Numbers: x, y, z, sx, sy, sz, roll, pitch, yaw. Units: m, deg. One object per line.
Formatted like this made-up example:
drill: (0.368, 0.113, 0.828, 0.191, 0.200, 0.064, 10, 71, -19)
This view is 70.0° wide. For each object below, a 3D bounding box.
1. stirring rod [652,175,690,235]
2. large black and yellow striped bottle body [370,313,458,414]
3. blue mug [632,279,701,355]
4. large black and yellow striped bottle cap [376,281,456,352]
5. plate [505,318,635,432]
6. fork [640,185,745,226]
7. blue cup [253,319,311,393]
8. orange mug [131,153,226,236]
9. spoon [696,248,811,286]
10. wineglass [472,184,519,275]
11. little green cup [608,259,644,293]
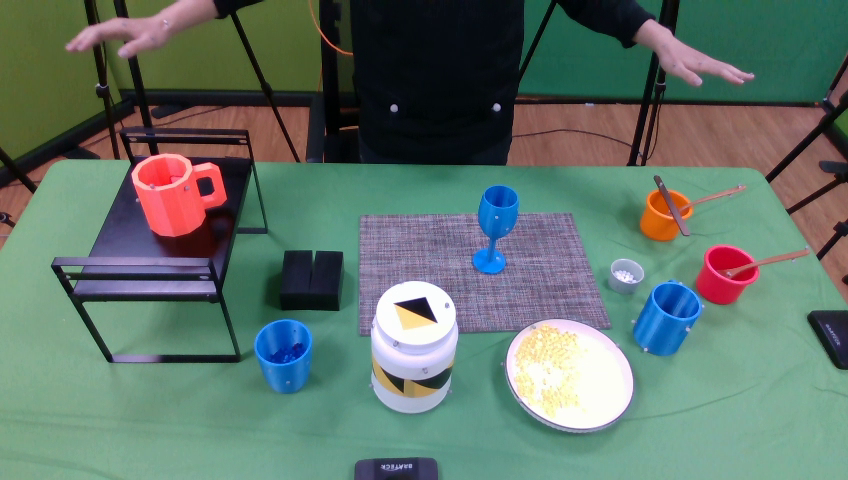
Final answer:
stirring rod: (0.492, -0.072, 1.211, 0.014, 0.006, 0.175, -1, 46, -6)
large black and yellow striped bottle body: (-0.017, 0.165, 0.924, 0.131, 0.185, 0.130, 2, 46, -2)
blue mug: (0.419, 0.124, 1.052, 0.082, 0.106, 0.116, 14, 46, 9)
large black and yellow striped bottle cap: (-0.011, 0.107, 0.863, 0.115, 0.019, 0.114, 2, 47, -2)
plate: (0.235, 0.221, 0.991, 0.209, 0.038, 0.208, 2, 45, -2)
fork: (0.534, -0.068, 1.215, 0.207, 0.019, 0.028, -26, 26, 33)
blue cup: (-0.217, 0.187, 0.943, 0.093, 0.101, 0.092, 3, 45, -3)
orange mug: (-0.375, -0.075, 0.937, 0.126, 0.101, 0.083, -20, 50, -17)
spoon: (0.601, 0.048, 1.112, 0.193, 0.022, 0.041, -25, 32, 35)
wineglass: (0.129, -0.018, 1.113, 0.074, 0.173, 0.073, 2, 46, -2)
little green cup: (0.379, 0.070, 1.147, 0.061, 0.039, 0.061, 3, 45, -2)
